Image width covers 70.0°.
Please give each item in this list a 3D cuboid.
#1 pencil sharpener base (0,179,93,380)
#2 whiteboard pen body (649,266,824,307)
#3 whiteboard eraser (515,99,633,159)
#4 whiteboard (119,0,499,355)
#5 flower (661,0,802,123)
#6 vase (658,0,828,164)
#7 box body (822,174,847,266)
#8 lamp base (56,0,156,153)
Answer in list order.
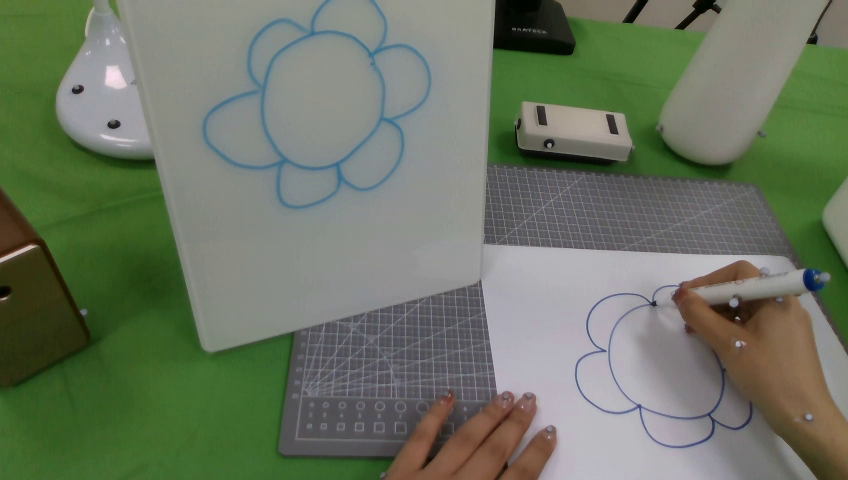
[{"bbox_3d":[-0.265,0.023,0.376,0.076,0.108,0.061,40,54,24],"label":"pencil sharpener base"},{"bbox_3d":[0.218,0.037,0.442,0.017,0.140,0.017,6,76,-25],"label":"whiteboard pen body"},{"bbox_3d":[0.150,-0.110,0.616,0.113,0.042,0.055,5,46,-5],"label":"whiteboard eraser"},{"bbox_3d":[-0.078,-0.106,0.431,0.218,0.308,0.142,-12,33,-19],"label":"whiteboard"},{"bbox_3d":[0.333,-0.214,0.525,0.044,0.363,0.038,-18,71,-32],"label":"flower"},{"bbox_3d":[0.312,-0.172,0.594,0.098,0.201,0.097,6,48,-6],"label":"vase"},{"bbox_3d":[0.517,0.056,0.456,0.254,0.161,0.360,4,48,-6],"label":"box body"},{"bbox_3d":[-0.257,-0.194,0.521,0.178,0.181,0.160,34,52,22],"label":"lamp base"}]
